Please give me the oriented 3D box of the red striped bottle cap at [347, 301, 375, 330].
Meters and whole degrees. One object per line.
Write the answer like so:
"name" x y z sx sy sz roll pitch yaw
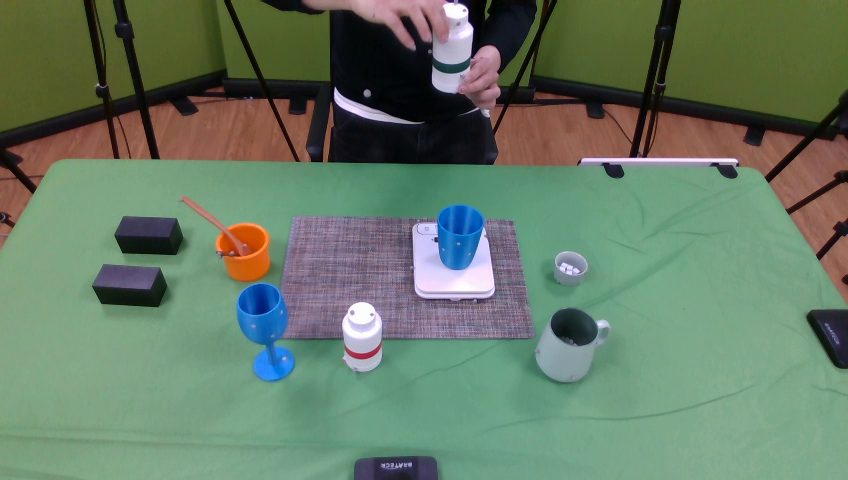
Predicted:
"red striped bottle cap" -0.097 0.116 0.934 0.044 0.018 0.044 3 49 -3

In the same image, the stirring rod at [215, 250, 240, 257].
"stirring rod" -0.339 0.024 1.059 0.014 0.176 0.006 16 86 -6

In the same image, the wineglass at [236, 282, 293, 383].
"wineglass" -0.243 0.143 0.934 0.074 0.173 0.073 2 46 -2

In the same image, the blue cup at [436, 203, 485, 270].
"blue cup" 0.061 -0.001 1.098 0.093 0.101 0.092 2 44 -2

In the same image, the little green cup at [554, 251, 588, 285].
"little green cup" 0.277 0.055 1.151 0.061 0.039 0.061 1 46 -1

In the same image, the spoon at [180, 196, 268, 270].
"spoon" -0.359 -0.014 1.094 0.021 0.194 0.041 -27 26 31

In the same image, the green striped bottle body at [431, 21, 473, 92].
"green striped bottle body" 0.043 -0.300 0.955 0.063 0.120 0.063 0 49 0

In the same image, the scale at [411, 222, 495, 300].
"scale" 0.052 0.031 1.158 0.149 0.032 0.199 1 46 -4

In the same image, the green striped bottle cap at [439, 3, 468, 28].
"green striped bottle cap" 0.045 -0.337 0.912 0.044 0.020 0.044 -1 50 2

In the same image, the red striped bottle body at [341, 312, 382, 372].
"red striped bottle body" -0.100 0.154 0.972 0.063 0.120 0.062 2 46 -1

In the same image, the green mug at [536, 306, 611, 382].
"green mug" 0.250 0.167 0.996 0.125 0.105 0.092 -15 48 -18
